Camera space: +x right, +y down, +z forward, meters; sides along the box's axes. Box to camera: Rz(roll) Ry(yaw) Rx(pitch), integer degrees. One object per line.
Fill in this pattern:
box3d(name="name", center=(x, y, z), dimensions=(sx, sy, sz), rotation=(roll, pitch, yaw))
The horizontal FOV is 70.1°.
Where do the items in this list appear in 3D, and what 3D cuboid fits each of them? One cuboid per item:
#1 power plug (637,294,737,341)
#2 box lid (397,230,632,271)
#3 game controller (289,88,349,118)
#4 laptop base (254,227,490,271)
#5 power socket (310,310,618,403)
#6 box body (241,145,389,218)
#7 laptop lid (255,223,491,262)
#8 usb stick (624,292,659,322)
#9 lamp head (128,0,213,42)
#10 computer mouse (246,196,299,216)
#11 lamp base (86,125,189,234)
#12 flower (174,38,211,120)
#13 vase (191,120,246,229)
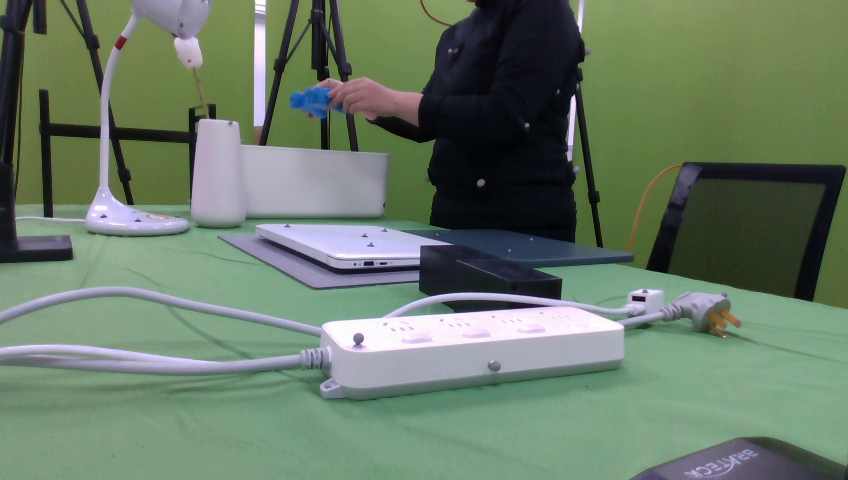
box3d(name="power plug", center=(0.234, 0.077, 0.535), dimensions=(0.072, 0.035, 0.052), rotation=(-33, 40, -5))
box3d(name="box lid", center=(0.140, 0.012, 1.044), dimensions=(0.265, 0.015, 0.369), rotation=(-1, 8, -32))
box3d(name="game controller", center=(-0.236, -0.310, 1.346), dimensions=(0.097, 0.051, 0.154), rotation=(6, 2, -32))
box3d(name="laptop base", center=(-0.096, 0.012, 0.911), dimensions=(0.237, 0.023, 0.352), rotation=(2, 6, -32))
box3d(name="power socket", center=(0.033, 0.074, 0.415), dimensions=(0.228, 0.032, 0.072), rotation=(-1, 7, -24))
box3d(name="box body", center=(-0.297, -0.143, 1.474), dimensions=(0.366, 0.160, 0.253), rotation=(-1, 9, -30))
box3d(name="laptop lid", center=(-0.093, 0.000, 0.911), dimensions=(0.243, 0.013, 0.355), rotation=(1, 7, -30))
box3d(name="usb stick", center=(0.211, 0.064, 0.580), dimensions=(0.021, 0.027, 0.059), rotation=(-2, -3, 36))
box3d(name="lamp head", center=(-0.423, -0.394, 0.980), dimensions=(0.123, 0.112, 0.112), rotation=(20, 7, -3))
box3d(name="computer mouse", center=(-0.346, -0.077, 1.381), dimensions=(0.118, 0.041, 0.062), rotation=(-8, 15, -28))
box3d(name="lamp base", center=(-0.497, -0.105, 1.027), dimensions=(0.179, 0.180, 0.160), rotation=(1, 7, 2))
box3d(name="flower", center=(-0.401, -0.207, 1.141), dimensions=(0.038, 0.361, 0.044), rotation=(-14, 3, 44))
box3d(name="vase", center=(-0.389, -0.123, 1.143), dimensions=(0.098, 0.200, 0.098), rotation=(2, 9, 0))
